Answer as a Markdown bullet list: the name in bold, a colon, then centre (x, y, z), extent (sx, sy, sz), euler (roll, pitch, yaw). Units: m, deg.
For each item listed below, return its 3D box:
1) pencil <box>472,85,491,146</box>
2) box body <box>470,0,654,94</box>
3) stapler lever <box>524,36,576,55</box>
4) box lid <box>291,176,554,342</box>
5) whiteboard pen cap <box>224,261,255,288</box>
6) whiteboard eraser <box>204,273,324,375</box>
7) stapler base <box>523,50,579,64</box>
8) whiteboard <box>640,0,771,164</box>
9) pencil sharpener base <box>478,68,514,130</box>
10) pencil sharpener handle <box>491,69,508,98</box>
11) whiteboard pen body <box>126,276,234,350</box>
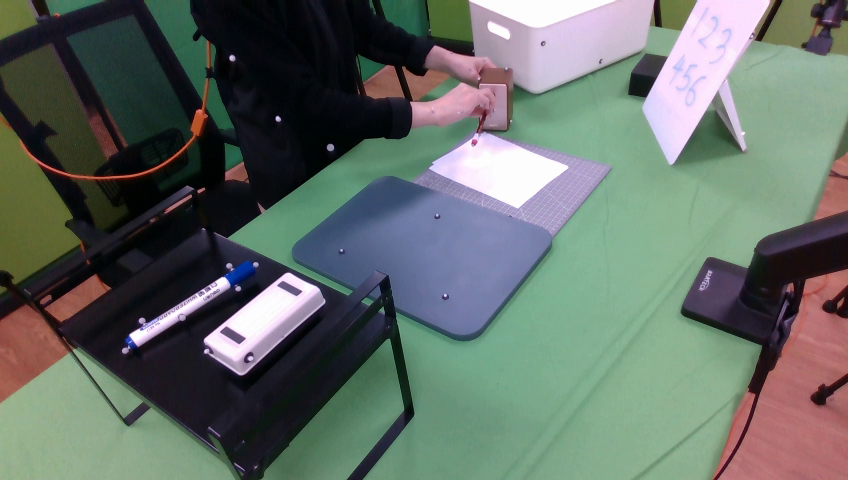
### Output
- **pencil**: centre (0.109, -0.239, 1.119), extent (0.012, 0.012, 0.193), euler (5, 49, 13)
- **box body**: centre (0.319, -0.498, 1.405), extent (0.365, 0.161, 0.252), euler (-26, 43, -21)
- **stapler lever**: centre (0.296, -0.456, 1.418), extent (0.117, 0.040, 0.027), euler (4, 40, 17)
- **box lid**: centre (-0.005, 0.011, 0.972), extent (0.368, 0.015, 0.264), euler (21, 49, 30)
- **whiteboard pen cap**: centre (-0.207, 0.039, 0.677), extent (0.033, 0.018, 0.018), euler (-36, 47, -18)
- **whiteboard eraser**: centre (-0.157, 0.084, 0.605), extent (0.055, 0.042, 0.113), euler (24, 49, 30)
- **stapler base**: centre (0.301, -0.436, 1.434), extent (0.130, 0.024, 0.041), euler (5, 40, 17)
- **whiteboard**: centre (0.543, -0.299, 1.076), extent (0.144, 0.305, 0.216), euler (12, 40, -7)
- **pencil sharpener base**: centre (0.148, -0.286, 1.225), extent (0.061, 0.107, 0.076), euler (5, 42, 15)
- **pencil sharpener handle**: centre (0.154, -0.330, 1.254), extent (0.036, 0.068, 0.030), euler (20, 44, 1)
- **whiteboard pen body**: centre (-0.251, 0.070, 0.649), extent (0.141, 0.017, 0.017), euler (-36, 48, -26)
